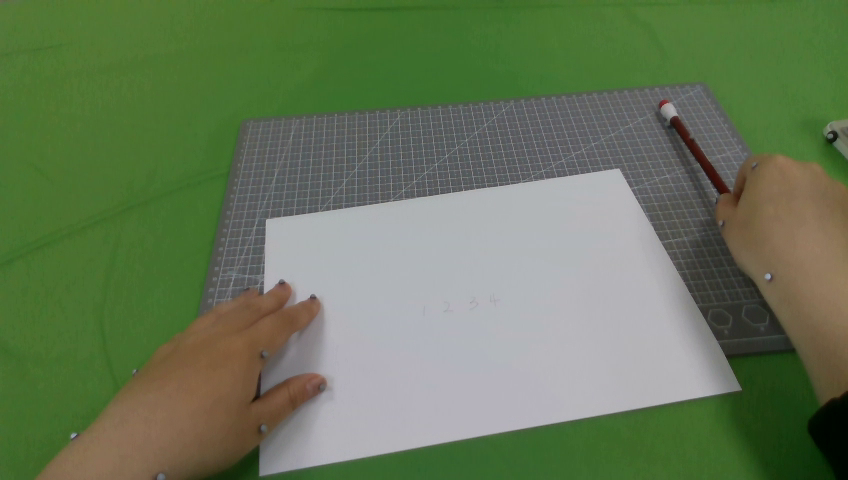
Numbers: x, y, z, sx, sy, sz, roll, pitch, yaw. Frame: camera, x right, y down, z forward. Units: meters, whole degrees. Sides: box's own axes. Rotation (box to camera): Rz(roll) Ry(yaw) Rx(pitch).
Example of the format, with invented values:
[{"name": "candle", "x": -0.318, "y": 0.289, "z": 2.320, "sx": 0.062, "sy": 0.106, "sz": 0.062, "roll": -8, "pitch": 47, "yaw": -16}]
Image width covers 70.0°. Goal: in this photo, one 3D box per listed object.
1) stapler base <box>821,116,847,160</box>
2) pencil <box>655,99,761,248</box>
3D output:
[{"name": "stapler base", "x": 0.379, "y": -0.064, "z": 0.492, "sx": 0.041, "sy": 0.025, "sz": 0.129, "roll": -10, "pitch": 50, "yaw": -2}, {"name": "pencil", "x": 0.228, "y": -0.061, "z": 0.495, "sx": 0.012, "sy": 0.012, "sz": 0.192, "roll": -6, "pitch": 45, "yaw": -2}]
